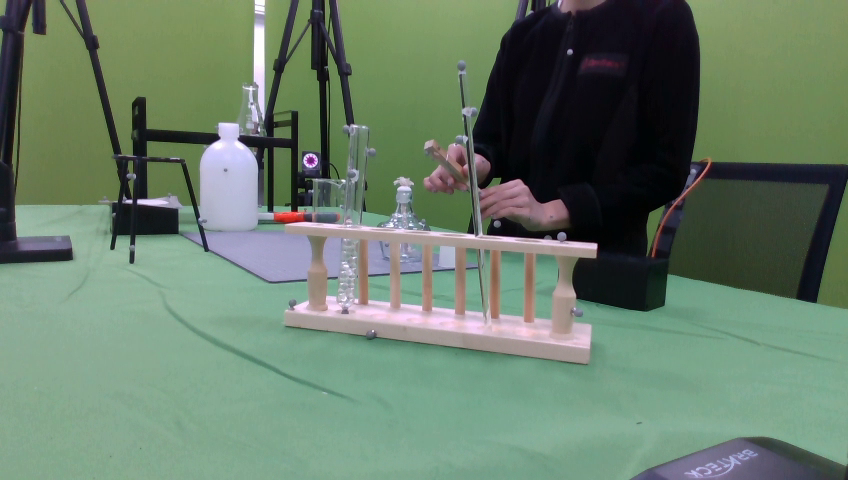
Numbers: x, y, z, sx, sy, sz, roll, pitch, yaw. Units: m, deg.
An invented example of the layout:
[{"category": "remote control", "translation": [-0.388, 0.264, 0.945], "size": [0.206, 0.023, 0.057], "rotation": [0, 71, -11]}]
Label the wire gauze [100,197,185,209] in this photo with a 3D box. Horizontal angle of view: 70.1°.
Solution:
[{"category": "wire gauze", "translation": [-0.469, -0.062, 1.008], "size": [0.126, 0.011, 0.121], "rotation": [-2, 8, -25]}]

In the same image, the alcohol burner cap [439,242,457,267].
[{"category": "alcohol burner cap", "translation": [0.038, 0.011, 0.807], "size": [0.034, 0.048, 0.034], "rotation": [3, 8, 0]}]

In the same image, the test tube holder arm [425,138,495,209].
[{"category": "test tube holder arm", "translation": [0.059, -0.099, 0.924], "size": [0.013, 0.015, 0.179], "rotation": [-6, -32, 39]}]

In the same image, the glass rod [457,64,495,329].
[{"category": "glass rod", "translation": [0.040, -0.029, 0.449], "size": [0.008, 0.199, 0.008], "rotation": [-7, 9, 1]}]

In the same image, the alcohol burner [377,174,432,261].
[{"category": "alcohol burner", "translation": [-0.027, -0.031, 0.838], "size": [0.078, 0.119, 0.078], "rotation": [0, 6, 0]}]

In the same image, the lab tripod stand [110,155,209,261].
[{"category": "lab tripod stand", "translation": [-0.361, -0.046, 0.806], "size": [0.148, 0.131, 0.148], "rotation": [2, 5, 0]}]

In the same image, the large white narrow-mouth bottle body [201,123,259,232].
[{"category": "large white narrow-mouth bottle body", "translation": [-0.358, -0.116, 1.116], "size": [0.102, 0.194, 0.102], "rotation": [2, 8, 0]}]

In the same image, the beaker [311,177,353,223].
[{"category": "beaker", "translation": [-0.167, -0.064, 1.106], "size": [0.074, 0.100, 0.083], "rotation": [-2, 9, -27]}]

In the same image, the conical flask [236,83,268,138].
[{"category": "conical flask", "translation": [-0.400, -0.298, 1.396], "size": [0.075, 0.122, 0.075], "rotation": [2, 8, 0]}]

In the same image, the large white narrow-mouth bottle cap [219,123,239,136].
[{"category": "large white narrow-mouth bottle cap", "translation": [-0.356, -0.201, 1.104], "size": [0.038, 0.024, 0.037], "rotation": [2, 8, 0]}]

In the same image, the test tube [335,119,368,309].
[{"category": "test tube", "translation": [-0.057, -0.019, 0.477], "size": [0.017, 0.150, 0.017], "rotation": [5, 9, -1]}]

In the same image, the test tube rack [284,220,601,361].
[{"category": "test tube rack", "translation": [0.013, 0.032, 0.482], "size": [0.242, 0.085, 0.067], "rotation": [4, 7, 16]}]

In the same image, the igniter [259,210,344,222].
[{"category": "igniter", "translation": [-0.303, -0.049, 1.258], "size": [0.278, 0.025, 0.057], "rotation": [-2, -2, -28]}]

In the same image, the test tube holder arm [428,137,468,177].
[{"category": "test tube holder arm", "translation": [0.036, -0.121, 0.891], "size": [0.010, 0.015, 0.088], "rotation": [-6, -32, 39]}]
